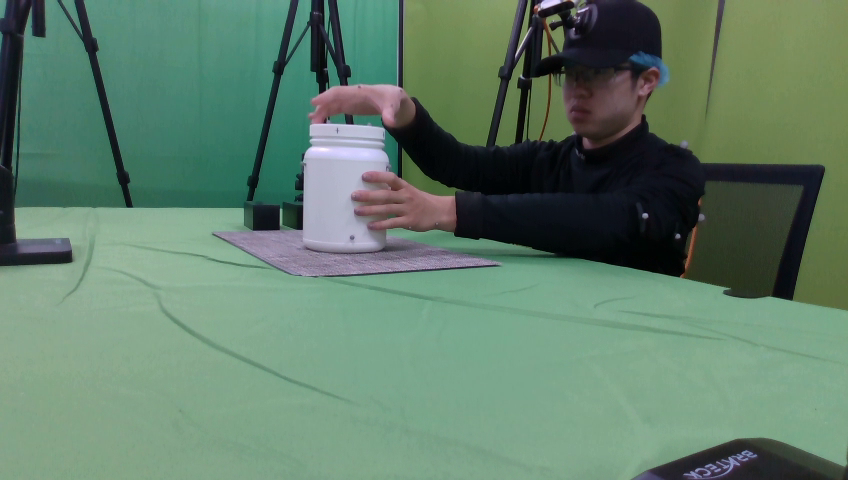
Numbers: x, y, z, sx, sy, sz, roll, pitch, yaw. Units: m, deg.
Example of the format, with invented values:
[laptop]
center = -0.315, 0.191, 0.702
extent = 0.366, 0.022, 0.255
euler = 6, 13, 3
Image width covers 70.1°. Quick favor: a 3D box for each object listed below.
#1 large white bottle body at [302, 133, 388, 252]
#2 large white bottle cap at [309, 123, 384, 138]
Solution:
[large white bottle body]
center = -0.121, -0.080, 0.937
extent = 0.131, 0.184, 0.130
euler = 2, 7, 0
[large white bottle cap]
center = -0.119, -0.166, 0.926
extent = 0.115, 0.018, 0.115
euler = 2, 7, 0
